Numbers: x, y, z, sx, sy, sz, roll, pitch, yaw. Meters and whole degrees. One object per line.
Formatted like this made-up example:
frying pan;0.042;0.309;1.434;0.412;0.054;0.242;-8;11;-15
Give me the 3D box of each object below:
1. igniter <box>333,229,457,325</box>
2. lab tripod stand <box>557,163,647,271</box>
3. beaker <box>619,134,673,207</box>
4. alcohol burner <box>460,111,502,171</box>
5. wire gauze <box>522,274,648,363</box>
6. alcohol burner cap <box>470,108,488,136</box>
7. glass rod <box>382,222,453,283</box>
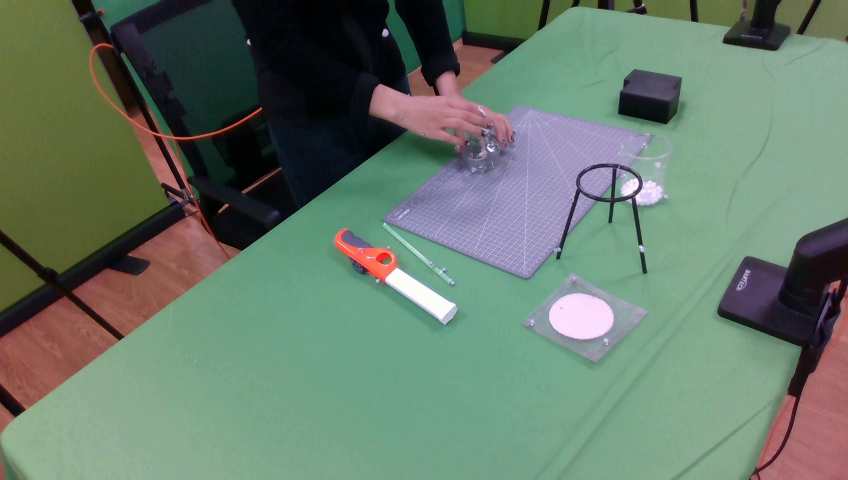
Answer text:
igniter;-0.055;0.049;0.929;0.057;0.025;0.274;-42;49;-20
lab tripod stand;0.271;-0.034;0.885;0.148;0.132;0.147;-4;40;4
beaker;0.356;-0.111;0.986;0.084;0.101;0.073;-10;40;1
alcohol burner;0.103;-0.186;1.105;0.078;0.119;0.077;-4;42;4
wire gauze;0.220;0.105;0.828;0.125;0.011;0.120;-35;47;-30
alcohol burner cap;0.096;-0.213;1.083;0.034;0.048;0.033;-8;35;6
glass rod;-0.014;0.016;0.976;0.008;0.008;0.198;-30;44;-22
